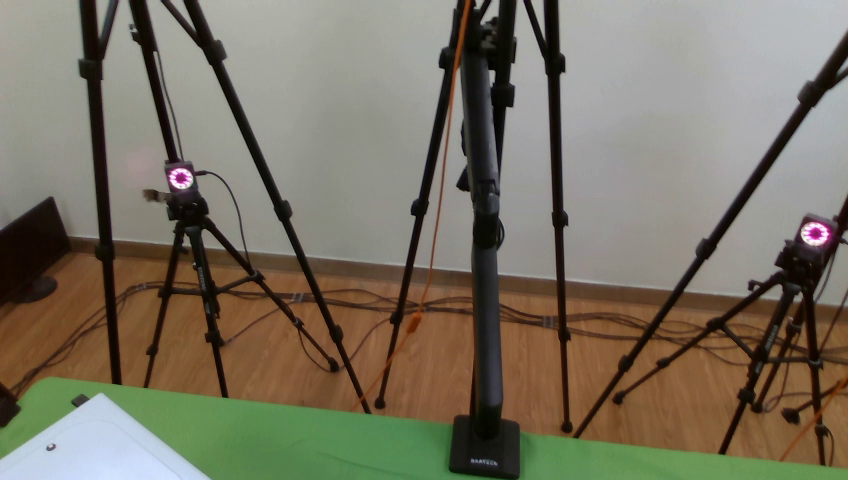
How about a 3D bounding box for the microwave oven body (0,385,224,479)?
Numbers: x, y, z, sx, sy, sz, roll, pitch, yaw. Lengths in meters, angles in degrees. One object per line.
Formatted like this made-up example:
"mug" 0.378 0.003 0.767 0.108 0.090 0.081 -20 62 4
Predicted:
"microwave oven body" -0.455 0.443 0.693 0.323 0.262 0.441 23 41 27
